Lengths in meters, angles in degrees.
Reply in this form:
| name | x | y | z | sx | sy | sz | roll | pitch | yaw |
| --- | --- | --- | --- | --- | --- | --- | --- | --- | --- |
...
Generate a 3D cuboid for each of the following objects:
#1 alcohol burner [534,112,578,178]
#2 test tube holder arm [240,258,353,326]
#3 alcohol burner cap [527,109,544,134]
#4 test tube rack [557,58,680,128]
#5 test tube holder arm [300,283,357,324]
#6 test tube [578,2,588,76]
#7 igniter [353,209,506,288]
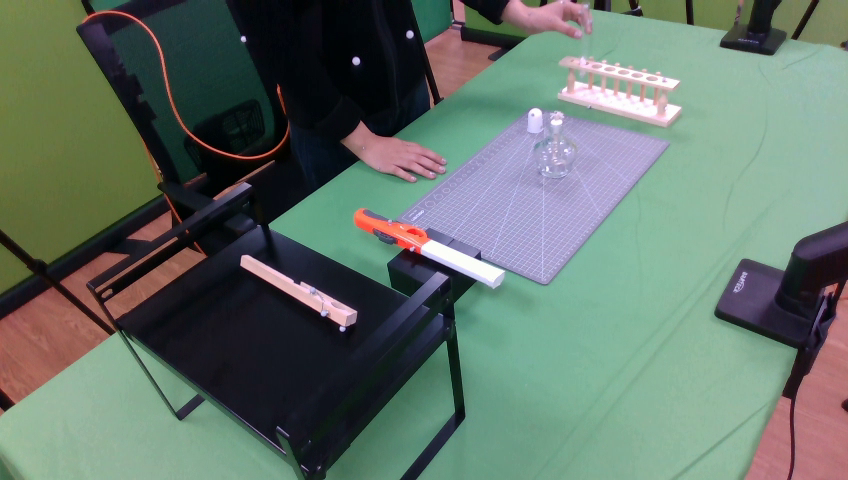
| name | x | y | z | sx | sy | sz | roll | pitch | yaw |
| --- | --- | --- | --- | --- | --- | --- | --- | --- | --- |
| alcohol burner | 0.232 | -0.170 | 1.065 | 0.078 | 0.119 | 0.077 | -5 | 39 | 5 |
| test tube holder arm | -0.143 | 0.053 | 0.658 | 0.177 | 0.015 | 0.013 | 21 | 14 | 32 |
| alcohol burner cap | 0.222 | -0.238 | 1.203 | 0.034 | 0.048 | 0.033 | -5 | 40 | 5 |
| test tube rack | 0.395 | -0.309 | 1.230 | 0.240 | 0.085 | 0.067 | 25 | 50 | 33 |
| test tube holder arm | -0.105 | 0.066 | 0.638 | 0.087 | 0.015 | 0.010 | 21 | 14 | 34 |
| test tube | 0.314 | -0.395 | 1.196 | 0.017 | 0.151 | 0.017 | -6 | 42 | 6 |
| igniter | -0.003 | 0.006 | 0.892 | 0.274 | 0.025 | 0.057 | 24 | 37 | 31 |
